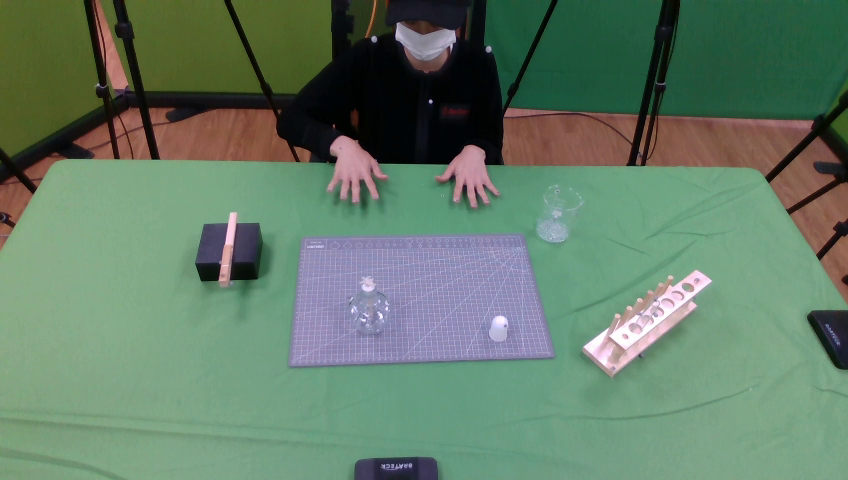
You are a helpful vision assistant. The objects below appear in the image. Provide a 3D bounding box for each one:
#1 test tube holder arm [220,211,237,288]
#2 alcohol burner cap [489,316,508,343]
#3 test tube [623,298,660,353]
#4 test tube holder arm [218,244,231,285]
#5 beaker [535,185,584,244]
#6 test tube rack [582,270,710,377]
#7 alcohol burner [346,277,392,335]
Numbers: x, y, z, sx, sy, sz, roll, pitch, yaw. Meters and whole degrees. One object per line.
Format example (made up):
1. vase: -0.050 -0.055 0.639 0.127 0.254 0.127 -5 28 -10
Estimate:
1. test tube holder arm: -0.353 0.013 1.093 0.015 0.013 0.177 -4 47 -6
2. alcohol burner cap: 0.130 0.151 1.045 0.034 0.048 0.033 2 46 -2
3. test tube: 0.344 0.140 0.976 0.017 0.151 0.017 3 50 -3
4. test tube holder arm: -0.347 0.042 1.058 0.015 0.010 0.087 -4 46 -6
5. beaker: 0.268 -0.048 1.213 0.084 0.101 0.073 6 46 0
6. test tube rack: 0.389 0.132 1.057 0.242 0.085 0.066 -28 54 -28
7. alcohol burner: -0.093 0.106 1.021 0.078 0.120 0.077 1 46 -1
